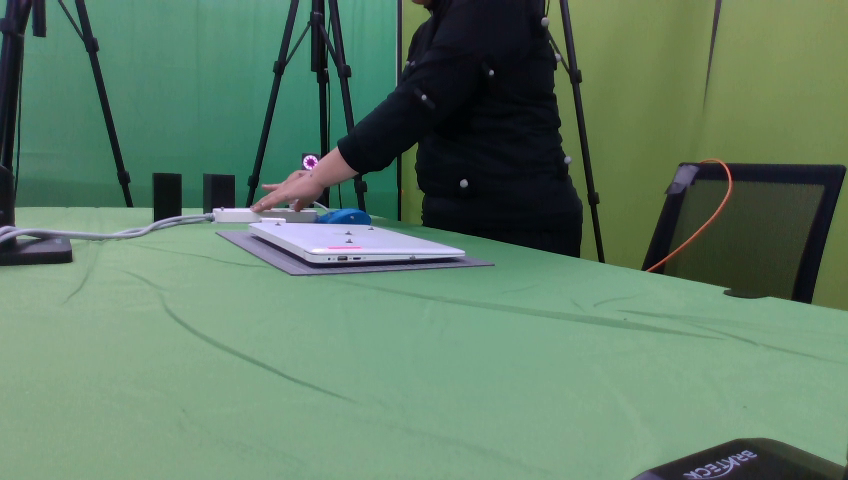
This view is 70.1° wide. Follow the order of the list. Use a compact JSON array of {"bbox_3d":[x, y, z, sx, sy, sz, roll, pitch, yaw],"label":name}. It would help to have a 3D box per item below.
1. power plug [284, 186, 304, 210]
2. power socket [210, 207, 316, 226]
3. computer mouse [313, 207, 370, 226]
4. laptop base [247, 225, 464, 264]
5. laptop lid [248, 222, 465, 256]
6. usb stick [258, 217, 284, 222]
[{"bbox_3d":[-0.287,-0.087,1.338,0.035,0.052,0.072,-1,22,-23],"label":"power plug"},{"bbox_3d":[-0.336,-0.050,1.282,0.228,0.032,0.072,-1,9,-29],"label":"power socket"},{"bbox_3d":[-0.175,-0.047,1.291,0.118,0.041,0.062,-8,15,-33],"label":"computer mouse"},{"bbox_3d":[-0.125,0.006,0.955,0.237,0.023,0.352,2,6,-30],"label":"laptop base"},{"bbox_3d":[-0.122,-0.005,0.954,0.243,0.013,0.355,1,7,-28],"label":"laptop lid"},{"bbox_3d":[-0.291,-0.028,1.118,0.059,0.027,0.021,-4,12,-29],"label":"usb stick"}]
